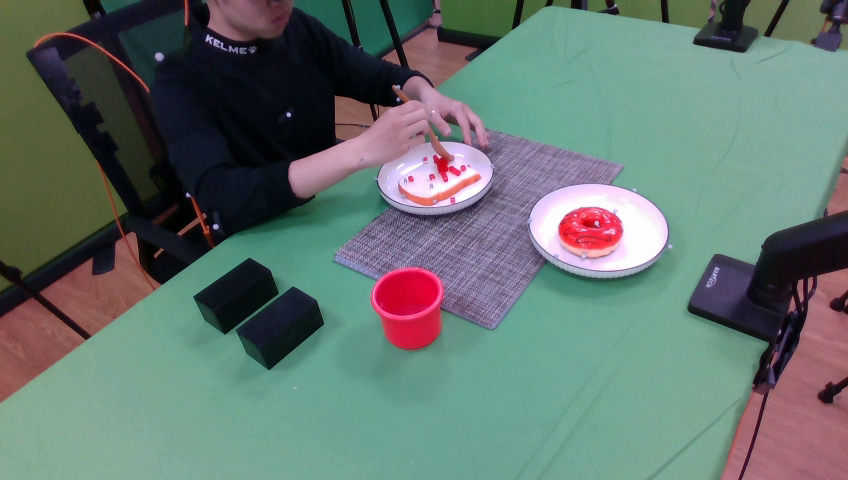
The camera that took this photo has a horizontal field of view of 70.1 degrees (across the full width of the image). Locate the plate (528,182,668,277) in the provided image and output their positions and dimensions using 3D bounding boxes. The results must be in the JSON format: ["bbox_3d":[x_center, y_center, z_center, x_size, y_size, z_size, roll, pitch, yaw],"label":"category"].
[{"bbox_3d":[0.264,-0.014,0.933,0.207,0.039,0.206,-3,42,3],"label":"plate"}]

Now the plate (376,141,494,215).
[{"bbox_3d":[0.021,-0.106,1.073,0.209,0.038,0.208,-4,40,4],"label":"plate"}]

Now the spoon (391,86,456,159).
[{"bbox_3d":[0.000,-0.200,1.046,0.021,0.195,0.041,-48,42,-8],"label":"spoon"}]

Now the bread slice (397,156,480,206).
[{"bbox_3d":[0.021,-0.105,1.078,0.132,0.019,0.104,-31,45,-30],"label":"bread slice"}]

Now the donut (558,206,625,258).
[{"bbox_3d":[0.254,-0.015,0.917,0.099,0.048,0.098,-5,41,5],"label":"donut"}]
